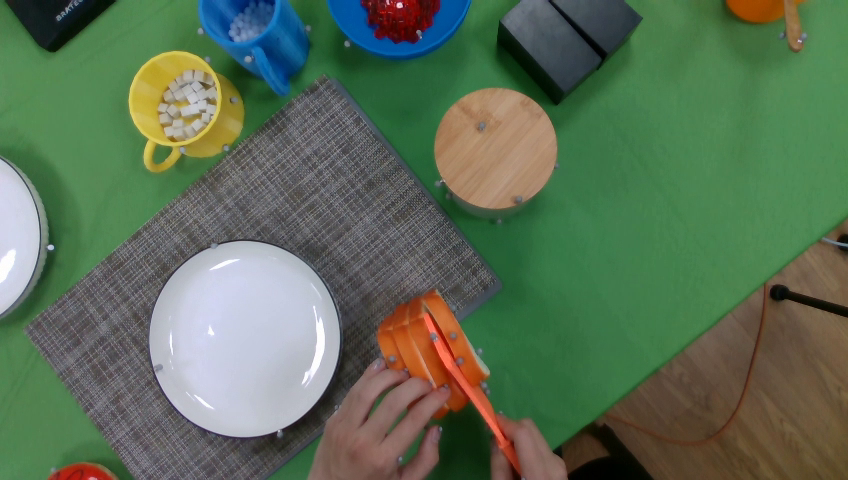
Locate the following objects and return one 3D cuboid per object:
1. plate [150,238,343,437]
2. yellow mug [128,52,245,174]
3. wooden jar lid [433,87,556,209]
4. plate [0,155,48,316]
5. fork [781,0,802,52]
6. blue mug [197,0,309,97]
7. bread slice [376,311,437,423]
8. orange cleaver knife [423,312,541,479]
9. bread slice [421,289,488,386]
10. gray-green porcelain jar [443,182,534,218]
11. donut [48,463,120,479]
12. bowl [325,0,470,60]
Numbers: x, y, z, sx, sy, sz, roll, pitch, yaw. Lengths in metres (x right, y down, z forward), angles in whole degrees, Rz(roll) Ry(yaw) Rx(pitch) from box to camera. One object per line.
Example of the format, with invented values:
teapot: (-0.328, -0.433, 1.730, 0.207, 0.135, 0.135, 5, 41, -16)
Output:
plate: (-0.187, 0.103, 0.651, 0.209, 0.038, 0.209, 0, 88, 4)
yellow mug: (-0.262, -0.129, 0.655, 0.100, 0.064, 0.131, 29, 91, 6)
wooden jar lid: (0.062, -0.081, 0.538, 0.108, 0.021, 0.108, 0, 88, 2)
plate: (-0.518, -0.004, 0.682, 0.207, 0.039, 0.207, 0, 88, 4)
fork: (0.338, -0.232, 0.575, 0.028, 0.019, 0.206, 22, 45, -2)
blue mug: (-0.169, -0.206, 0.632, 0.082, 0.106, 0.116, -19, 87, 3)
bread slice: (-0.017, 0.123, 0.599, 0.018, 0.134, 0.107, -27, 87, 0)
orange cleaver knife: (0.057, 0.154, 0.571, 0.012, 0.076, 0.213, -32, 113, 3)
bread slice: (0.031, 0.094, 0.595, 0.019, 0.132, 0.104, -31, 86, -2)
gray-green porcelain jar: (0.068, -0.077, 0.600, 0.106, 0.126, 0.105, 0, 87, 4)
donut: (-0.371, 0.292, 0.658, 0.099, 0.048, 0.099, 0, 86, 2)
bowl: (-0.023, -0.254, 0.637, 0.151, 0.077, 0.151, 0, 88, 4)
